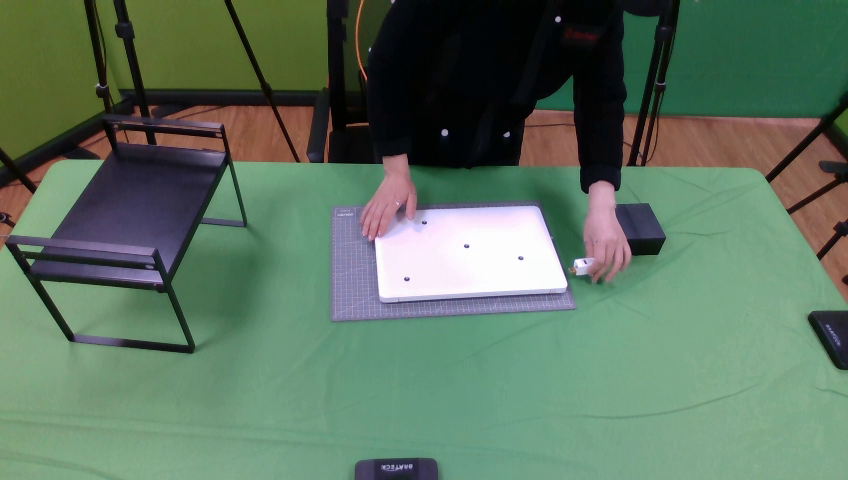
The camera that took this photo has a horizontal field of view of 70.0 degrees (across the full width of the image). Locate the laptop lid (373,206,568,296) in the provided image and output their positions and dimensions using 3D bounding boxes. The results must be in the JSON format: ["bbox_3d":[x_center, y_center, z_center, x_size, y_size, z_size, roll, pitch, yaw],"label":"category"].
[{"bbox_3d":[0.081,0.014,1.174,0.357,0.013,0.240,-1,44,-6],"label":"laptop lid"}]

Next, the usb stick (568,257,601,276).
[{"bbox_3d":[0.301,0.051,1.140,0.059,0.027,0.021,-13,38,1],"label":"usb stick"}]

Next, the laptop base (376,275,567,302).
[{"bbox_3d":[0.081,0.024,1.181,0.355,0.023,0.234,-3,43,-6],"label":"laptop base"}]
